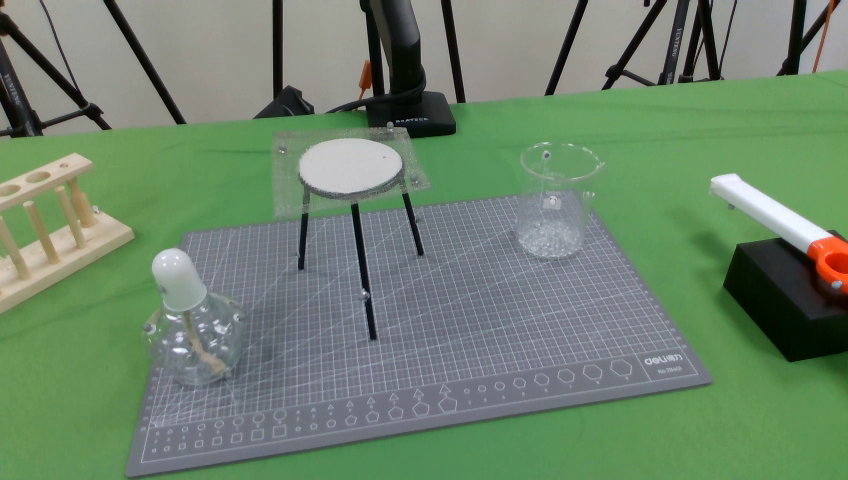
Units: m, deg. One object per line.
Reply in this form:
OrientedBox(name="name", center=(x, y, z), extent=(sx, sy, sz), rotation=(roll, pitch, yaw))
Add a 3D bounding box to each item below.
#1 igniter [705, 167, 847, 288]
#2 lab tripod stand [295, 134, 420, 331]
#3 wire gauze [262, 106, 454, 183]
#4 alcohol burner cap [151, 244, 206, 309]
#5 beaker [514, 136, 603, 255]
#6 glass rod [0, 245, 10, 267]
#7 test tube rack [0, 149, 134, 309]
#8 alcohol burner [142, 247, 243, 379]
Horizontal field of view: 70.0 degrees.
OrientedBox(name="igniter", center=(0.346, 0.006, 0.520), extent=(0.057, 0.025, 0.273), rotation=(-12, 36, -14))
OrientedBox(name="lab tripod stand", center=(-0.059, -0.014, 0.543), extent=(0.148, 0.132, 0.147), rotation=(1, 39, 0))
OrientedBox(name="wire gauze", center=(-0.056, -0.078, 0.489), extent=(0.125, 0.011, 0.120), rotation=(-15, 36, -28))
OrientedBox(name="alcohol burner cap", center=(-0.187, 0.025, 0.455), extent=(0.034, 0.048, 0.033), rotation=(-1, 42, 2))
OrientedBox(name="beaker", center=(0.129, -0.042, 0.602), extent=(0.084, 0.101, 0.073), rotation=(-2, 38, -1))
OrientedBox(name="glass rod", center=(-0.408, -0.051, 0.536), extent=(0.008, 0.201, 0.008), rotation=(3, 39, -2))
OrientedBox(name="test tube rack", center=(-0.410, 0.010, 0.567), extent=(0.066, 0.086, 0.242), rotation=(23, 44, 28))
OrientedBox(name="alcohol burner", center=(-0.185, 0.053, 0.477), extent=(0.078, 0.120, 0.077), rotation=(1, 37, 0))
